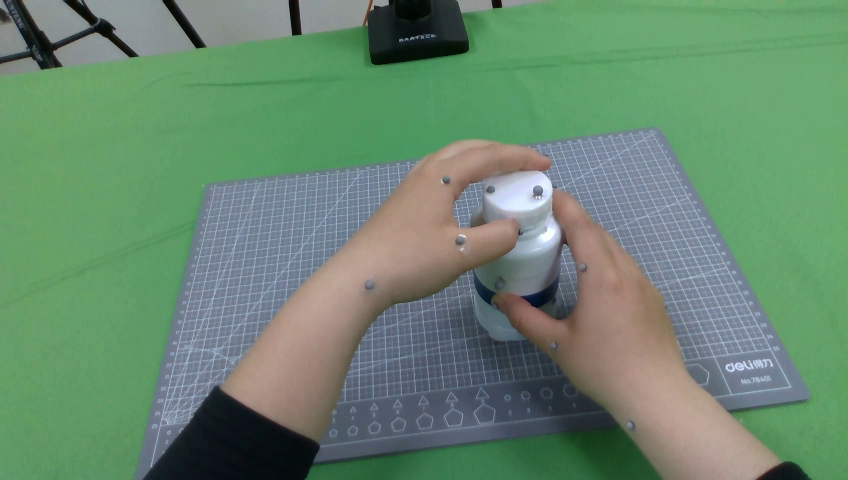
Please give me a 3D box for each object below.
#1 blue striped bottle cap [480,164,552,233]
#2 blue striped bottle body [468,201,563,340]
[{"bbox_3d":[0.058,-0.027,0.381,0.044,0.021,0.044,-2,50,3],"label":"blue striped bottle cap"},{"bbox_3d":[0.063,0.012,0.422,0.063,0.122,0.062,-4,47,4],"label":"blue striped bottle body"}]
